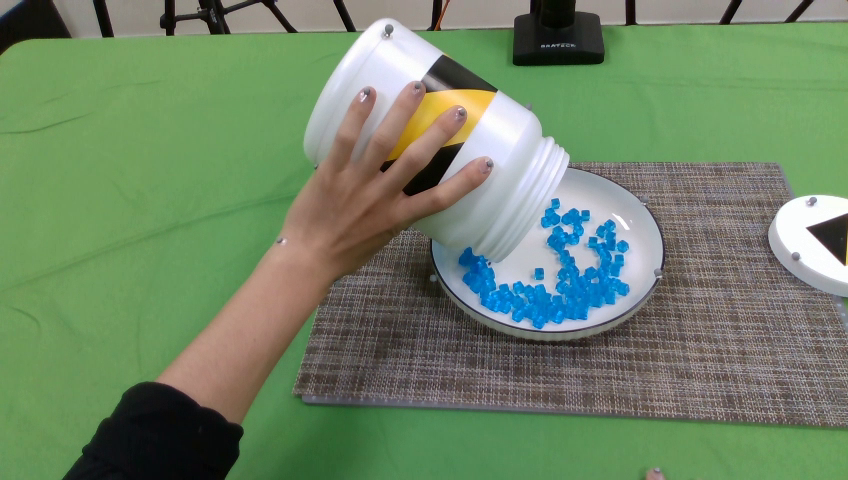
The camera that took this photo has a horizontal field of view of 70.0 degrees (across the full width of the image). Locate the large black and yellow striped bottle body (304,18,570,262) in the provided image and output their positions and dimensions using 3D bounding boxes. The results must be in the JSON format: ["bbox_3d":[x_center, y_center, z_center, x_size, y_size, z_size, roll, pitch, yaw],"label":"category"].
[{"bbox_3d":[0.013,-0.075,0.494,0.184,0.131,0.130,33,53,-3],"label":"large black and yellow striped bottle body"}]

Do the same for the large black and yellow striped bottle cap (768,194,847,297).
[{"bbox_3d":[0.376,0.002,0.549,0.115,0.019,0.114,-1,48,1],"label":"large black and yellow striped bottle cap"}]

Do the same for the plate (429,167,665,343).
[{"bbox_3d":[0.110,0.010,0.555,0.207,0.039,0.205,-3,47,3],"label":"plate"}]
